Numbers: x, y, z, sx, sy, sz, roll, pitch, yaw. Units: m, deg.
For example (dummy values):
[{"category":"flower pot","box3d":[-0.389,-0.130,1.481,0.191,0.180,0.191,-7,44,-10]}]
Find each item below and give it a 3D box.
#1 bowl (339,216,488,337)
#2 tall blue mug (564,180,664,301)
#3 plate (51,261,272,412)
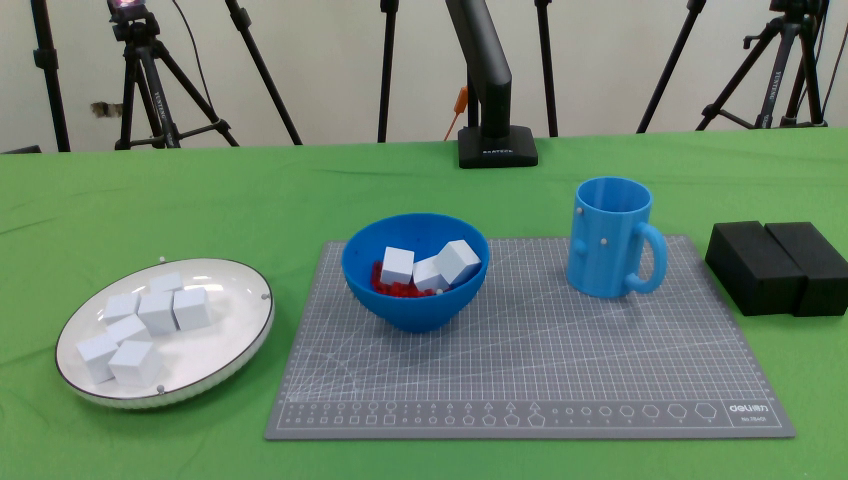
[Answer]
[{"category":"bowl","box3d":[-0.009,0.047,0.629,0.151,0.077,0.150,-2,34,2]},{"category":"tall blue mug","box3d":[0.208,0.005,0.646,0.106,0.109,0.077,18,39,27]},{"category":"plate","box3d":[-0.258,0.096,0.616,0.209,0.038,0.207,-1,34,1]}]
